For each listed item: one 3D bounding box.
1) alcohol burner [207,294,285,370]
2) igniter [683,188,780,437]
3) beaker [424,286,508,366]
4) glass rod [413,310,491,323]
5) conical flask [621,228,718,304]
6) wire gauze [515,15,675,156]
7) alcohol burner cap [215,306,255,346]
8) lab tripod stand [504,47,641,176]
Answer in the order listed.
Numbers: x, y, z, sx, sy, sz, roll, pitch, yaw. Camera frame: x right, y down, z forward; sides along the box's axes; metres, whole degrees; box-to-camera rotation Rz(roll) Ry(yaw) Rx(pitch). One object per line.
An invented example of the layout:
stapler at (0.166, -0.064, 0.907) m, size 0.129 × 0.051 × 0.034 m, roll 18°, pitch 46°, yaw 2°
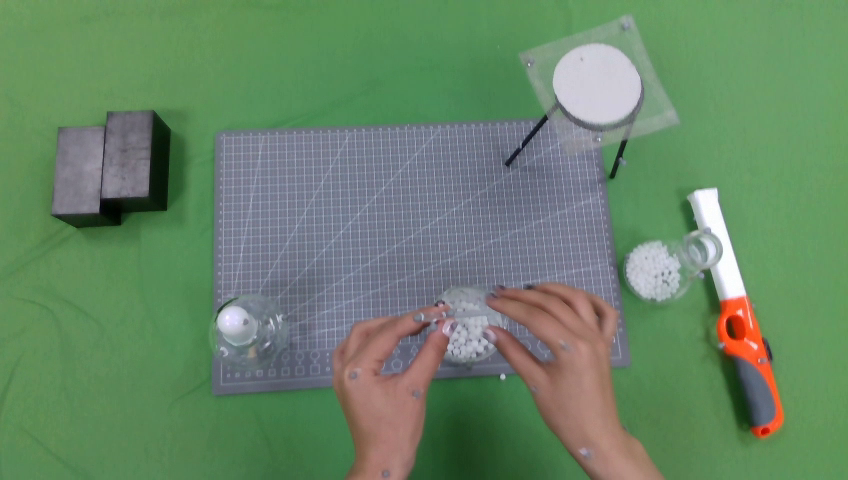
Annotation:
alcohol burner at (-0.180, 0.089, 0.601) m, size 0.078 × 0.119 × 0.077 m, roll 1°, pitch 75°, yaw -3°
igniter at (0.340, 0.075, 0.672) m, size 0.057 × 0.025 × 0.275 m, roll -7°, pitch 77°, yaw -15°
beaker at (0.039, 0.090, 0.617) m, size 0.084 × 0.100 × 0.073 m, roll -21°, pitch 78°, yaw -7°
glass rod at (0.030, 0.064, 0.506) m, size 0.008 × 0.201 × 0.008 m, roll -2°, pitch 84°, yaw 20°
conical flask at (0.261, 0.022, 0.633) m, size 0.075 × 0.122 × 0.075 m, roll 0°, pitch 76°, yaw -1°
wire gauze at (0.168, -0.152, 0.594) m, size 0.125 × 0.011 × 0.121 m, roll -19°, pitch 80°, yaw -7°
alcohol burner cap at (-0.178, 0.078, 0.566) m, size 0.034 × 0.048 × 0.033 m, roll 3°, pitch 68°, yaw -7°
lab tripod stand at (0.164, -0.132, 0.658) m, size 0.148 × 0.132 × 0.147 m, roll 1°, pitch 78°, yaw -3°
